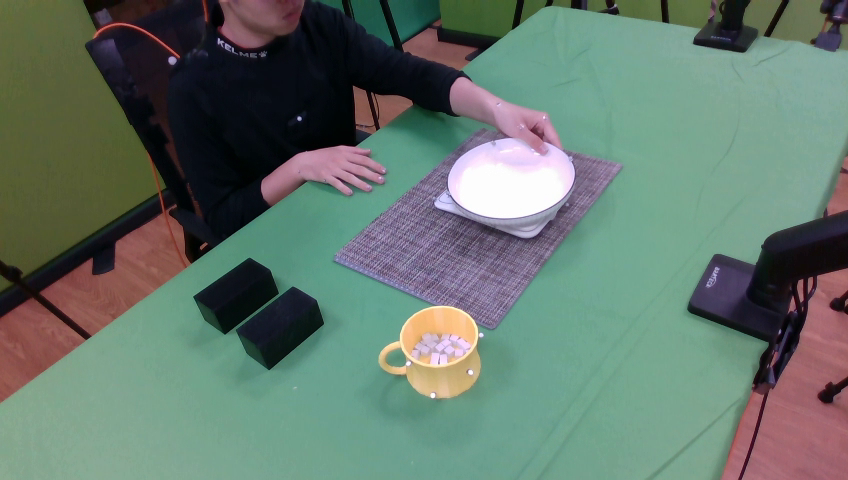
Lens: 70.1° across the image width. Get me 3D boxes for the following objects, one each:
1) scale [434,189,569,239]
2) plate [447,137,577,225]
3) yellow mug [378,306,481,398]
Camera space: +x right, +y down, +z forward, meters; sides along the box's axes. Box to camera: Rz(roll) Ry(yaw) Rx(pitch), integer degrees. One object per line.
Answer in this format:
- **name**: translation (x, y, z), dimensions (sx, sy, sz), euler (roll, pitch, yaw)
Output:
- **scale**: translation (0.132, -0.075, 1.024), dimensions (0.199, 0.032, 0.149), euler (22, 48, 30)
- **plate**: translation (0.143, -0.092, 0.985), dimensions (0.209, 0.038, 0.208), euler (-6, 44, 6)
- **yellow mug**: translation (0.006, 0.144, 0.766), dimensions (0.131, 0.064, 0.099), euler (-10, 40, -2)
